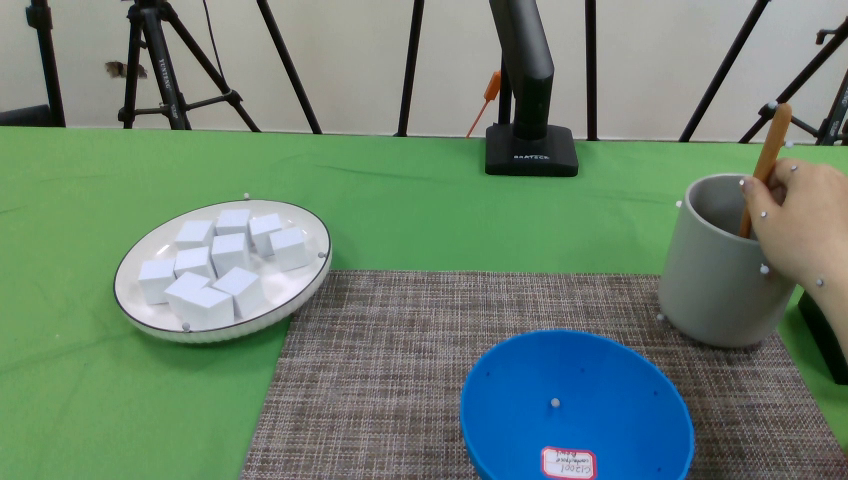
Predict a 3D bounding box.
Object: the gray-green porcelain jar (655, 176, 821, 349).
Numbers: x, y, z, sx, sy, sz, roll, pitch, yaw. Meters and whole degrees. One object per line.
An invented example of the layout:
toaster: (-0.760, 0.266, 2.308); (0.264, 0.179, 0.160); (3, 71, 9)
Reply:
gray-green porcelain jar: (0.266, 0.024, 0.532); (0.106, 0.127, 0.105); (-1, 38, 1)

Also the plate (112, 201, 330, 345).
plate: (-0.197, 0.032, 0.609); (0.209, 0.038, 0.207); (-1, 37, 1)

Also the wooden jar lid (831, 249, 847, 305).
wooden jar lid: (0.405, 0.044, 0.513); (0.108, 0.021, 0.107); (-1, 37, 1)

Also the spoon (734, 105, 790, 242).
spoon: (0.266, -0.017, 0.497); (0.022, 0.195, 0.041); (-16, 38, -13)

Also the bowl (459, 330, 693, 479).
bowl: (0.098, 0.143, 0.420); (0.151, 0.077, 0.150); (-1, 37, 1)
